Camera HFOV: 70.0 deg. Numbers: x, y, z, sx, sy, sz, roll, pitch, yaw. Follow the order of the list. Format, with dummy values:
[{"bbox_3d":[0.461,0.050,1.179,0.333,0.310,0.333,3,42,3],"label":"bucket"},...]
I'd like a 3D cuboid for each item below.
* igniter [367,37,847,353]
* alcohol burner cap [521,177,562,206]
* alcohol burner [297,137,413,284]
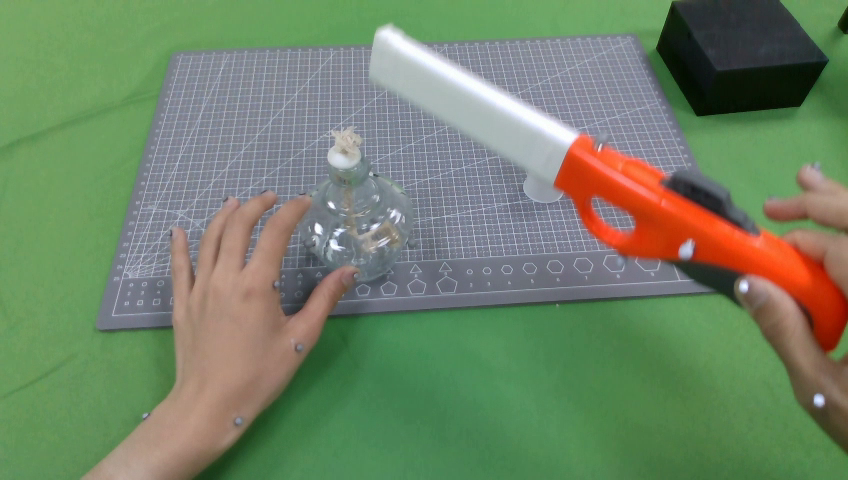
[{"bbox_3d":[0.082,-0.031,0.311,0.275,0.057,0.025,33,47,17],"label":"igniter"},{"bbox_3d":[0.094,-0.052,0.464,0.034,0.048,0.033,1,53,-1],"label":"alcohol burner cap"},{"bbox_3d":[-0.047,-0.024,0.396,0.078,0.120,0.077,0,55,1],"label":"alcohol burner"}]
